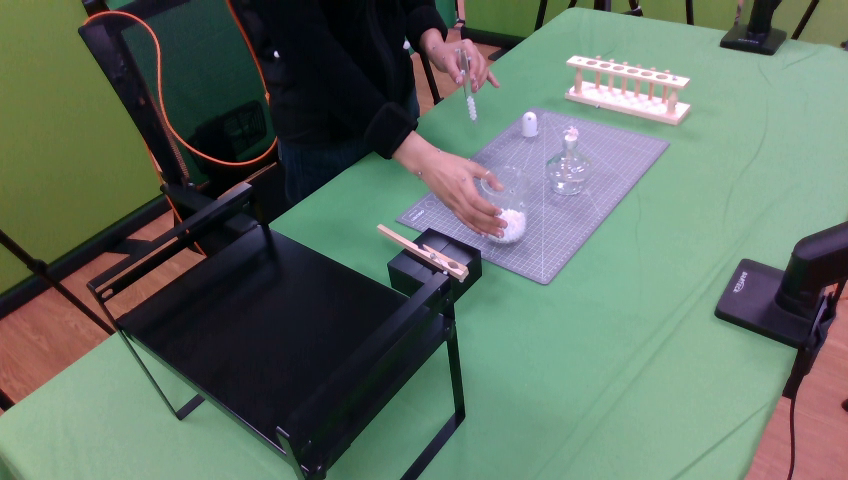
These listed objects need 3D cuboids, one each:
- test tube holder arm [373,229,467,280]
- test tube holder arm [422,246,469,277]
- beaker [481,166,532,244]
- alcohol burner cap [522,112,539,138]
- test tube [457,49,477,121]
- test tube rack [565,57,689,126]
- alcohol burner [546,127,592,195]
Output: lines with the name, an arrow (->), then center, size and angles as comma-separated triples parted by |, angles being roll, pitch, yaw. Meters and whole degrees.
test tube holder arm -> -0.010, 0.019, 0.885 | 0.177, 0.015, 0.013 | 23, 48, 33
test tube holder arm -> 0.028, 0.031, 0.863 | 0.087, 0.015, 0.010 | 25, 49, 34
beaker -> 0.126, -0.052, 0.920 | 0.073, 0.100, 0.084 | 26, 51, 27
alcohol burner cap -> 0.210, -0.230, 1.195 | 0.034, 0.048, 0.033 | -6, 41, 5
test tube -> 0.078, -0.273, 1.080 | 0.017, 0.151, 0.017 | -8, 49, 9
test tube rack -> 0.411, -0.311, 1.230 | 0.240, 0.085, 0.067 | 23, 49, 32
alcohol burner -> 0.247, -0.137, 1.023 | 0.078, 0.119, 0.077 | -4, 38, 4
